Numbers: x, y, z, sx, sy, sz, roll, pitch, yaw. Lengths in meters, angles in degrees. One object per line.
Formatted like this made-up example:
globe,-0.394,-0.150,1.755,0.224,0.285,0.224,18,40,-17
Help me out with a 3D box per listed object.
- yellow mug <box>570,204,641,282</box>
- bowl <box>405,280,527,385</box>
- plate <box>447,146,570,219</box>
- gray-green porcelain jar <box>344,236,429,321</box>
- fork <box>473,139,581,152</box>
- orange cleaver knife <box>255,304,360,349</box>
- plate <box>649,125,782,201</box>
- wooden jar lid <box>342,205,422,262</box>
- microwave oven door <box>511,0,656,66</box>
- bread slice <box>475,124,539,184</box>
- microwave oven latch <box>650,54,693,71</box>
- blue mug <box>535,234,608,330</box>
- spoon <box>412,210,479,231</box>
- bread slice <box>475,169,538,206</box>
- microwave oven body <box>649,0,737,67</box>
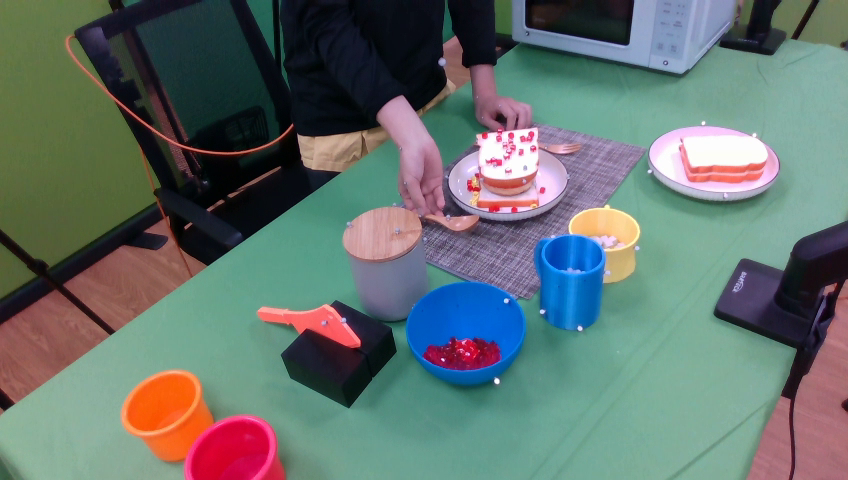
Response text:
yellow mug,0.268,-0.005,0.904,0.099,0.064,0.130,7,41,15
bowl,0.055,0.131,0.767,0.151,0.077,0.150,-4,41,4
plate,0.145,-0.098,1.046,0.209,0.038,0.208,-4,40,4
gray-green porcelain jar,-0.049,0.042,0.849,0.106,0.127,0.105,-4,41,4
fork,0.194,-0.184,1.153,0.206,0.019,0.028,7,49,14
orange cleaver knife,-0.161,0.115,0.813,0.210,0.077,0.012,-4,32,47
plate,0.493,-0.128,1.036,0.207,0.039,0.206,-4,41,4
wooden jar lid,-0.055,-0.006,0.808,0.108,0.021,0.108,-6,41,6
microwave oven door,0.351,-0.539,1.349,0.353,0.245,0.039,24,50,31
bread slice,0.143,-0.144,1.009,0.107,0.018,0.133,-7,46,7
microwave oven latch,0.531,-0.386,1.301,0.078,0.029,0.030,26,51,33
blue mug,0.191,0.048,0.824,0.082,0.106,0.115,-26,44,-21
spoon,0.003,-0.038,0.978,0.192,0.022,0.041,10,45,30
bread slice,0.143,-0.104,1.058,0.105,0.019,0.131,0,43,6
microwave oven body,0.475,-0.602,1.411,0.438,0.261,0.327,23,50,32
